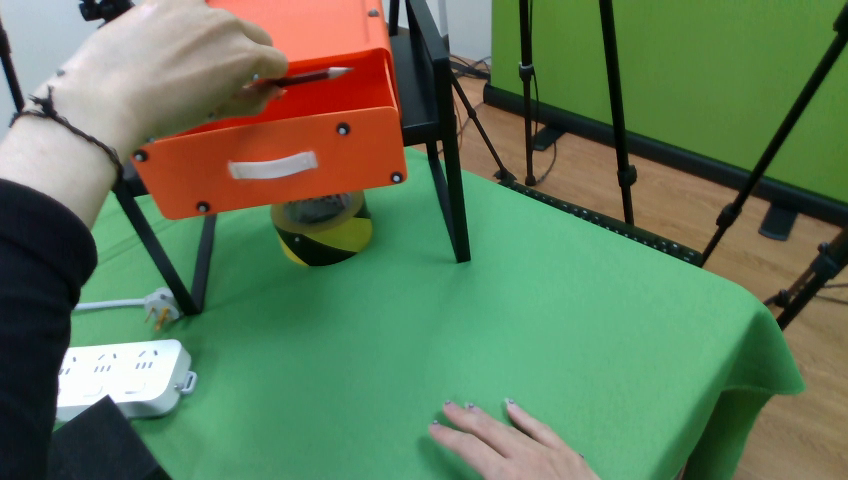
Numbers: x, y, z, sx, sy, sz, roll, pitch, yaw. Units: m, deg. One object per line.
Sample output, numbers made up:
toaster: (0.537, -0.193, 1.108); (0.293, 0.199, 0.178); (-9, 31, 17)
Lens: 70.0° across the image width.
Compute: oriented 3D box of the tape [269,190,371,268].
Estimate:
tape: (-0.120, -0.026, 0.712); (0.117, 0.053, 0.115); (-5, 43, 5)

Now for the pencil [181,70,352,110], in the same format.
pencil: (-0.126, -0.113, 0.456); (0.193, 0.012, 0.012); (2, 41, 36)

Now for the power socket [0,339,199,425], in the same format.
power socket: (-0.334, 0.138, 0.586); (0.226, 0.033, 0.071); (-5, 42, 5)

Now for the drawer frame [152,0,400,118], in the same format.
drawer frame: (-0.135, -0.181, 0.594); (0.202, 0.083, 0.211); (-11, 42, -1)

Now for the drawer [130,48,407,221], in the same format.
drawer: (-0.122, -0.119, 0.528); (0.194, 0.074, 0.209); (-10, 41, 0)

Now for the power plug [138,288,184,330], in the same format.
power plug: (-0.288, 0.081, 0.655); (0.072, 0.035, 0.052); (-33, 27, 32)
